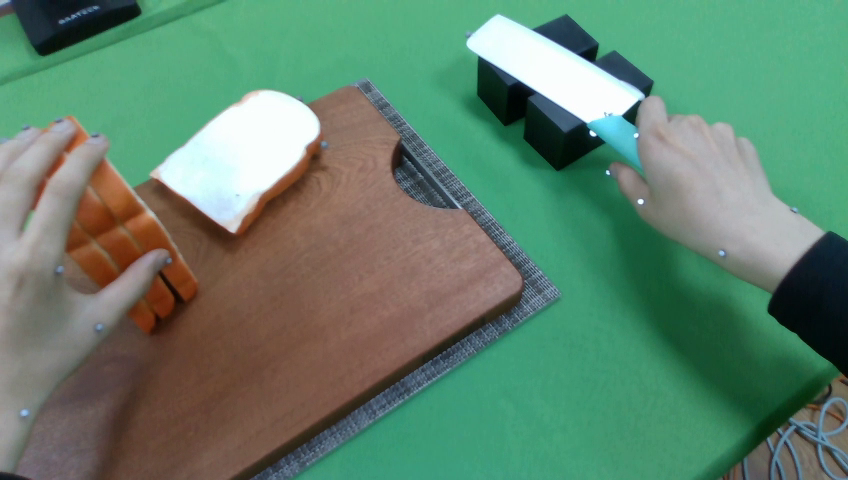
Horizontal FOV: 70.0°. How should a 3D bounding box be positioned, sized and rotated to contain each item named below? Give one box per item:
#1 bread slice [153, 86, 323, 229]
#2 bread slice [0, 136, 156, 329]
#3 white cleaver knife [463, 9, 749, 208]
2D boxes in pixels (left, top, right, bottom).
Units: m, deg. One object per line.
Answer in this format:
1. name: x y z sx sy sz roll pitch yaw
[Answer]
1. bread slice: -0.148 -0.076 0.515 0.104 0.019 0.131 32 69 24
2. bread slice: -0.236 -0.009 0.416 0.018 0.135 0.106 -35 57 -19
3. white cleaver knife: 0.148 -0.124 0.513 0.066 0.022 0.284 -40 66 -18
